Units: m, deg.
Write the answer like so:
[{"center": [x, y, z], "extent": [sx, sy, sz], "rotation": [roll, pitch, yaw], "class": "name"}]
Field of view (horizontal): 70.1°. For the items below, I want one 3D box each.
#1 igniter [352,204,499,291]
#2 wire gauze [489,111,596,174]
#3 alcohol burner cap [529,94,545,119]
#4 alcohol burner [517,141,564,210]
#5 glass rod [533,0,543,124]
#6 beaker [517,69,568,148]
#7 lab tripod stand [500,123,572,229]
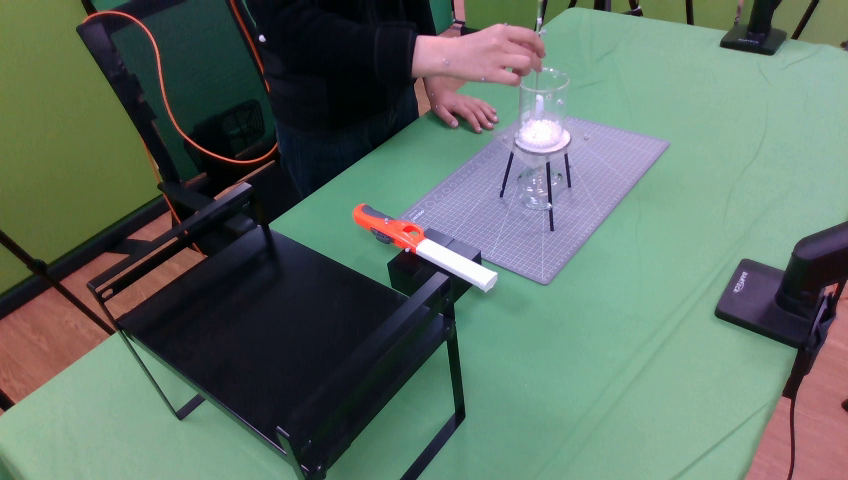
[{"center": [-0.009, 0.005, 0.895], "extent": [0.274, 0.025, 0.057], "rotation": [27, 48, 32], "class": "igniter"}, {"center": [0.183, -0.159, 0.943], "extent": [0.122, 0.011, 0.124], "rotation": [-25, 47, -17], "class": "wire gauze"}, {"center": [0.233, -0.277, 1.247], "extent": [0.034, 0.048, 0.033], "rotation": [-5, 41, 5], "class": "alcohol burner cap"}, {"center": [0.193, -0.110, 1.001], "extent": [0.078, 0.119, 0.077], "rotation": [-5, 39, 5], "class": "alcohol burner"}, {"center": [0.165, -0.251, 0.876], "extent": [0.008, 0.200, 0.008], "rotation": [-4, 46, 4], "class": "glass rod"}, {"center": [0.180, -0.198, 0.914], "extent": [0.073, 0.100, 0.084], "rotation": [25, 49, 31], "class": "beaker"}, {"center": [0.194, -0.110, 0.985], "extent": [0.148, 0.132, 0.147], "rotation": [-3, 41, 3], "class": "lab tripod stand"}]
